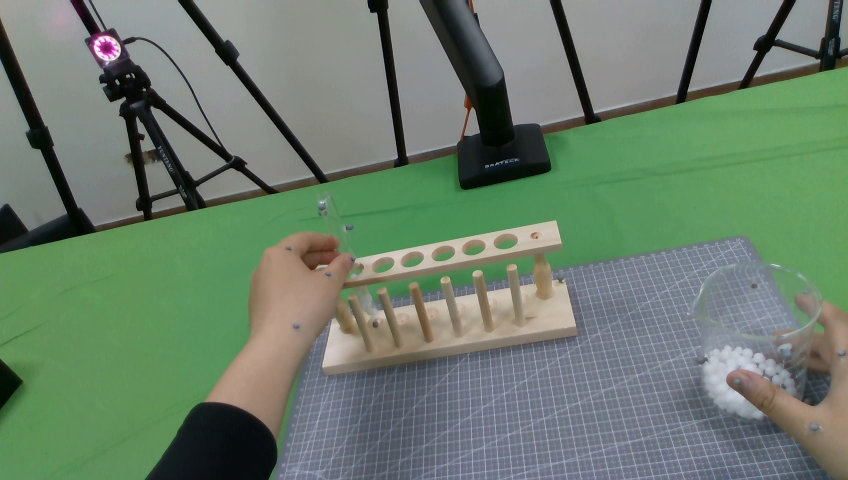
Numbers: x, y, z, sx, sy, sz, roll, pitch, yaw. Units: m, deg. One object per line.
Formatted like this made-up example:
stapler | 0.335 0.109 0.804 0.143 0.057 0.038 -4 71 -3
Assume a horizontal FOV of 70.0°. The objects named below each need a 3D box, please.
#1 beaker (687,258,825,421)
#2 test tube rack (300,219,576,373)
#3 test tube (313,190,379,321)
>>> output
beaker | 0.234 0.075 0.436 0.084 0.101 0.073 -11 36 11
test tube rack | 0.012 0.055 0.568 0.242 0.086 0.066 -11 36 10
test tube | -0.070 0.019 0.566 0.017 0.152 0.017 -12 34 9
